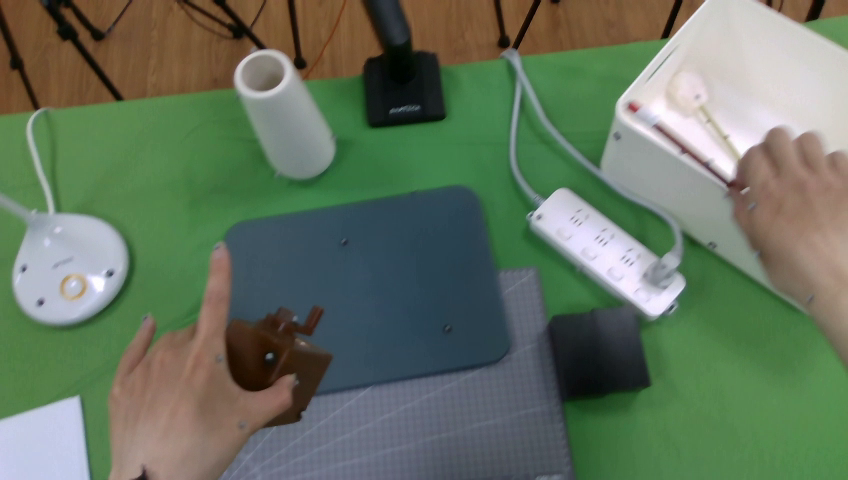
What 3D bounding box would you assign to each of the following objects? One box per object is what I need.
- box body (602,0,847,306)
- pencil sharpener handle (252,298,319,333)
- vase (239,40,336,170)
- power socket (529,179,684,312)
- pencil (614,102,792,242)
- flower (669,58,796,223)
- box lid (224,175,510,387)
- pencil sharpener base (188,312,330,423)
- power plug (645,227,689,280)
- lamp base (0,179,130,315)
[{"bbox_3d":[0.445,-0.118,0.774,0.362,0.161,0.254,39,76,16],"label":"box body"},{"bbox_3d":[-0.114,0.060,0.514,0.036,0.068,0.030,23,83,23],"label":"pencil sharpener handle"},{"bbox_3d":[-0.179,-0.175,0.811,0.098,0.201,0.097,-1,68,2],"label":"vase"},{"bbox_3d":[0.243,0.005,0.809,0.225,0.033,0.072,42,77,17],"label":"power socket"},{"bbox_3d":[0.244,-0.059,0.528,0.194,0.012,0.012,38,75,0],"label":"pencil"},{"bbox_3d":[0.456,-0.103,0.842,0.044,0.038,0.359,-31,75,10],"label":"flower"},{"bbox_3d":[-0.082,0.054,0.819,0.372,0.015,0.261,-10,69,0],"label":"box lid"},{"bbox_3d":[-0.135,0.107,0.521,0.061,0.108,0.076,24,83,15],"label":"pencil sharpener base"},{"bbox_3d":[0.316,0.023,0.774,0.072,0.053,0.035,-33,68,-14],"label":"power plug"},{"bbox_3d":[-0.502,-0.010,0.776,0.160,0.181,0.178,-35,69,-10],"label":"lamp base"}]
